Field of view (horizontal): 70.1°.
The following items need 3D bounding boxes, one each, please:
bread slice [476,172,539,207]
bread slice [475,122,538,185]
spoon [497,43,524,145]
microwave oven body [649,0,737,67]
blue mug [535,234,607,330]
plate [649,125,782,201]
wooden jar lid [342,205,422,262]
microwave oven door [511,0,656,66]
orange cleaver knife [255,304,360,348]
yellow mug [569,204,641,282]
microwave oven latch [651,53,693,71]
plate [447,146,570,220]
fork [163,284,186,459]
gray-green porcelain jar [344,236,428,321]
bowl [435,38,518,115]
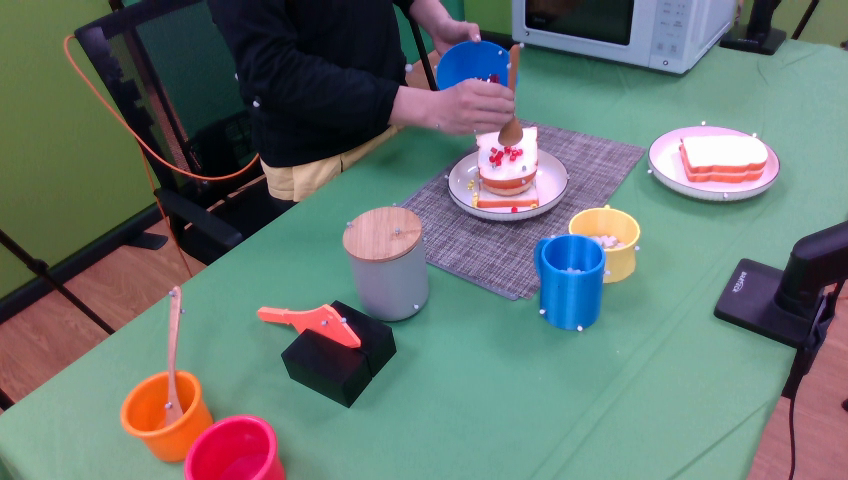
[{"bbox_3d":[0.144,-0.104,1.058,0.105,0.019,0.131,-1,43,5],"label":"bread slice"},{"bbox_3d":[0.142,-0.144,1.008,0.107,0.018,0.133,-8,48,9],"label":"bread slice"},{"bbox_3d":[0.129,-0.208,0.888,0.041,0.194,0.021,-7,51,1],"label":"spoon"},{"bbox_3d":[0.475,-0.602,1.411,0.438,0.261,0.327,23,50,32],"label":"microwave oven body"},{"bbox_3d":[0.191,0.048,0.824,0.082,0.106,0.115,-26,44,-21],"label":"blue mug"},{"bbox_3d":[0.493,-0.128,1.036,0.207,0.039,0.206,-4,41,4],"label":"plate"},{"bbox_3d":[-0.055,-0.006,0.808,0.108,0.021,0.108,-6,40,6],"label":"wooden jar lid"},{"bbox_3d":[0.351,-0.539,1.349,0.353,0.245,0.039,24,50,31],"label":"microwave oven door"},{"bbox_3d":[-0.161,0.115,0.813,0.210,0.077,0.012,-5,32,46],"label":"orange cleaver knife"},{"bbox_3d":[0.268,-0.005,0.904,0.099,0.064,0.130,7,41,15],"label":"yellow mug"},{"bbox_3d":[0.532,-0.386,1.301,0.078,0.029,0.030,26,52,34],"label":"microwave oven latch"},{"bbox_3d":[0.145,-0.098,1.046,0.209,0.038,0.208,-4,41,4],"label":"plate"},{"bbox_3d":[-0.302,0.157,0.733,0.028,0.019,0.207,-3,84,15],"label":"fork"},{"bbox_3d":[-0.049,0.042,0.849,0.106,0.127,0.105,-4,41,4],"label":"gray-green porcelain jar"},{"bbox_3d":[0.095,-0.285,1.113,0.151,0.077,0.151,0,69,1],"label":"bowl"}]
